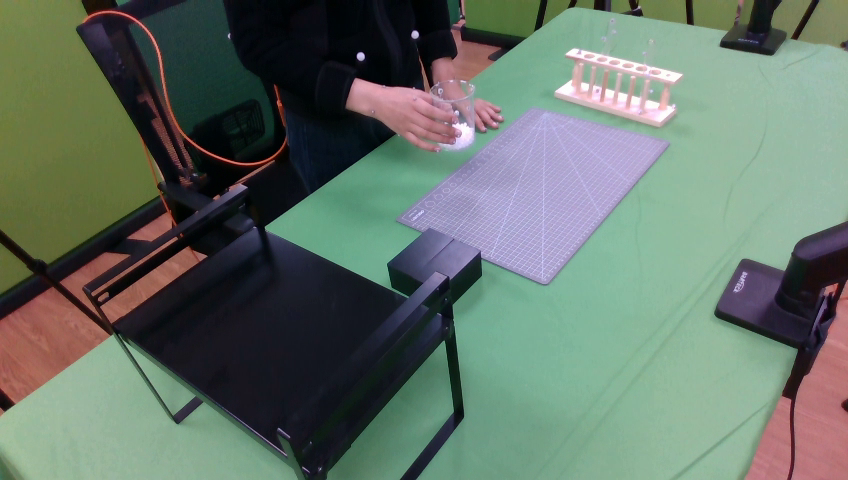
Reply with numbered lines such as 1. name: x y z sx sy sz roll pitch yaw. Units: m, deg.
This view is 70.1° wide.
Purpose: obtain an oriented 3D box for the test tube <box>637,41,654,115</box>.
1. test tube: 0.423 -0.307 1.154 0.017 0.151 0.017 -5 41 5

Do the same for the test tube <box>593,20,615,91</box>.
1. test tube: 0.366 -0.372 1.232 0.017 0.151 0.017 0 43 0

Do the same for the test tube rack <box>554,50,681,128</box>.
1. test tube rack: 0.387 -0.311 1.234 0.240 0.085 0.067 28 51 34

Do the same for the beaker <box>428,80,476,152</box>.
1. beaker: 0.052 -0.208 1.020 0.084 0.101 0.073 -22 44 -17
